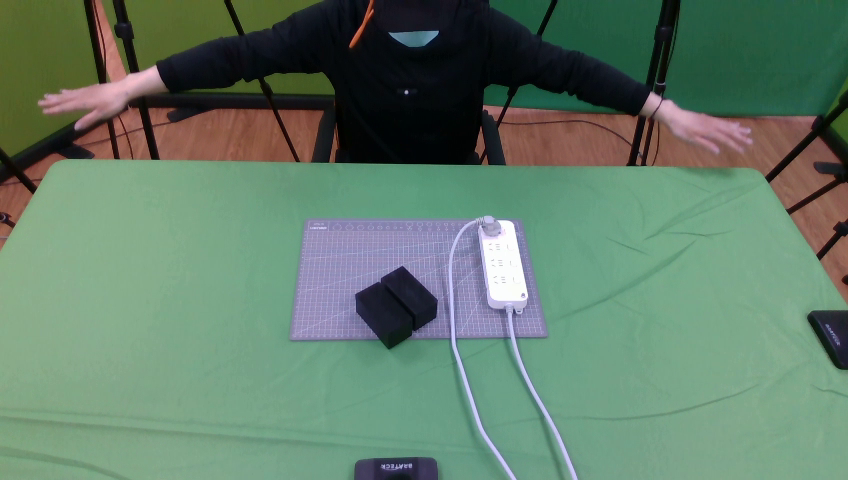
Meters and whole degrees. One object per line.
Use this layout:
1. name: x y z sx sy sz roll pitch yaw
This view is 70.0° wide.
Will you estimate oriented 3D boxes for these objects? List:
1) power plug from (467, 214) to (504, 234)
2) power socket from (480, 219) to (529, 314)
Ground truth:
1. power plug: 0.120 -0.030 1.185 0.072 0.053 0.035 8 47 5
2. power socket: 0.151 0.040 1.152 0.072 0.033 0.225 0 47 -3
